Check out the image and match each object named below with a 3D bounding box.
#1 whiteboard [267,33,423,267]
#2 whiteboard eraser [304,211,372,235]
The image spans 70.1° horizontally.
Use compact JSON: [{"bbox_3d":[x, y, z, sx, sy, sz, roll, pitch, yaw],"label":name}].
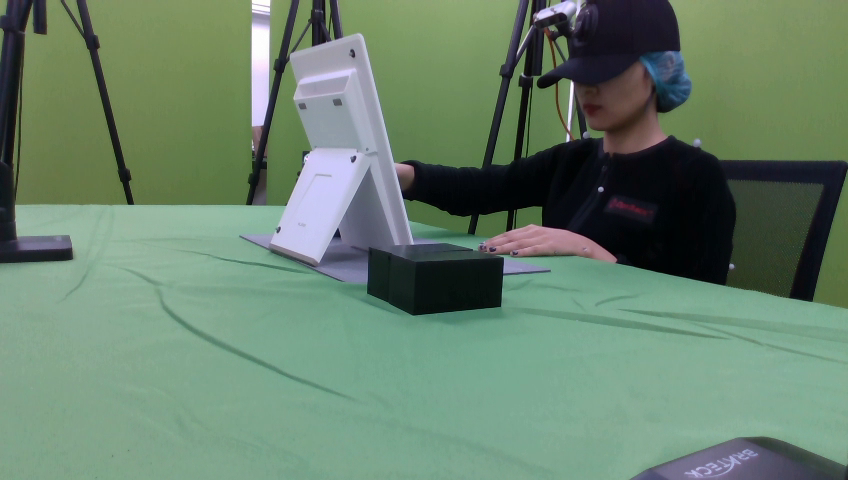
[{"bbox_3d":[-0.153,-0.098,0.819,0.144,0.305,0.216,-25,21,-29],"label":"whiteboard"},{"bbox_3d":[-0.153,-0.030,1.079,0.113,0.042,0.055,-3,7,-33],"label":"whiteboard eraser"}]
